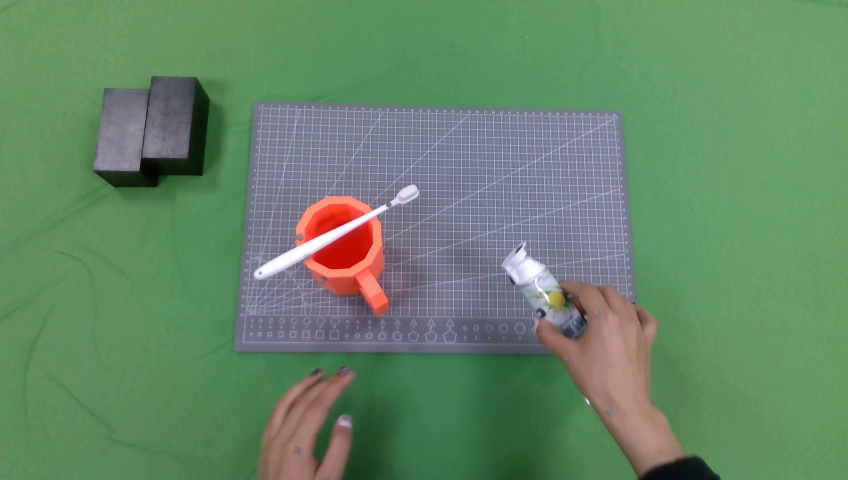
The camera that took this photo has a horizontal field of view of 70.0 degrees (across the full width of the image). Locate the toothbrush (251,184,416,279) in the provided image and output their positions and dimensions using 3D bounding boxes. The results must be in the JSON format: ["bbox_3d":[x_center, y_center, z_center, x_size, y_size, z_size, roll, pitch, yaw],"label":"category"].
[{"bbox_3d":[-0.087,-0.009,0.596,0.182,0.017,0.014,-29,83,-9],"label":"toothbrush"}]

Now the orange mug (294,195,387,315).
[{"bbox_3d":[-0.079,0.021,0.642,0.083,0.101,0.125,-32,75,-10],"label":"orange mug"}]

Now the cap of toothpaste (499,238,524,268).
[{"bbox_3d":[0.090,0.014,0.606,0.011,0.037,0.037,40,77,-1],"label":"cap of toothpaste"}]

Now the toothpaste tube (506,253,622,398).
[{"bbox_3d":[0.137,0.081,0.614,0.055,0.034,0.165,-37,96,-8],"label":"toothpaste tube"}]
